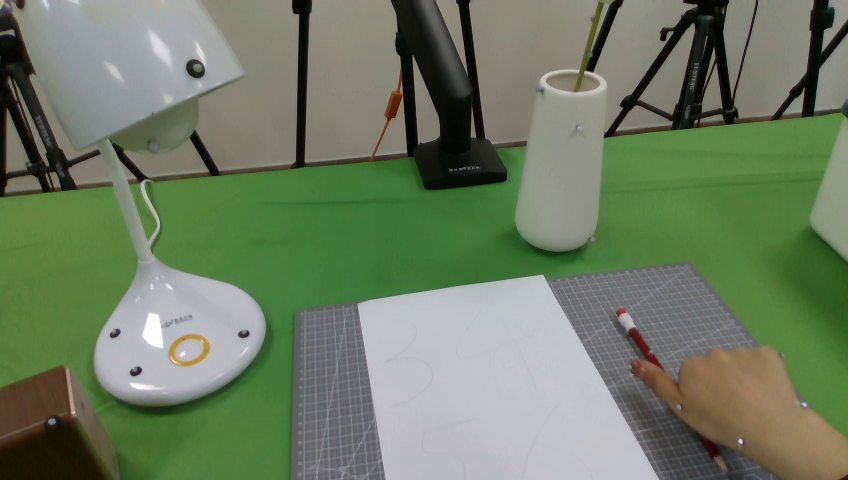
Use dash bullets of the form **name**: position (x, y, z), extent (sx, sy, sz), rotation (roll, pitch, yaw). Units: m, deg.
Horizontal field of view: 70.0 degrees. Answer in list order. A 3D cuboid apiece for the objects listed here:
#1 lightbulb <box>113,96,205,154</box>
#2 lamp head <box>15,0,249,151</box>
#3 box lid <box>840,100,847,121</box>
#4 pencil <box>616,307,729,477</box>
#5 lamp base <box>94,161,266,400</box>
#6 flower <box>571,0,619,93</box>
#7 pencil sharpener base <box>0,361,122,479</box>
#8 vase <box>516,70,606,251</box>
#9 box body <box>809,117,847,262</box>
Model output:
- **lightbulb**: position (-0.173, -0.105, 0.364), extent (0.059, 0.108, 0.059), rotation (-16, 16, 5)
- **lamp head**: position (-0.184, -0.128, 0.362), extent (0.112, 0.123, 0.112), rotation (-26, 16, 8)
- **box lid**: position (0.595, -0.053, 0.531), extent (0.263, 0.015, 0.367), rotation (-6, 37, -4)
- **pencil**: position (0.221, 0.129, 0.551), extent (0.012, 0.012, 0.192), rotation (-8, 38, -9)
- **lamp base**: position (-0.248, 0.027, 0.562), extent (0.161, 0.182, 0.177), rotation (-27, 41, -31)
- **flower**: position (0.153, -0.139, 0.625), extent (0.044, 0.364, 0.038), rotation (31, 59, 17)
- **pencil sharpener base**: position (-0.282, 0.156, 0.449), extent (0.077, 0.108, 0.060), rotation (-20, 41, -23)
- **vase**: position (0.157, -0.086, 0.691), extent (0.098, 0.202, 0.097), rotation (-2, 35, 2)
- **box body**: position (0.605, 0.005, 0.586), extent (0.254, 0.162, 0.360), rotation (-5, 36, -5)
